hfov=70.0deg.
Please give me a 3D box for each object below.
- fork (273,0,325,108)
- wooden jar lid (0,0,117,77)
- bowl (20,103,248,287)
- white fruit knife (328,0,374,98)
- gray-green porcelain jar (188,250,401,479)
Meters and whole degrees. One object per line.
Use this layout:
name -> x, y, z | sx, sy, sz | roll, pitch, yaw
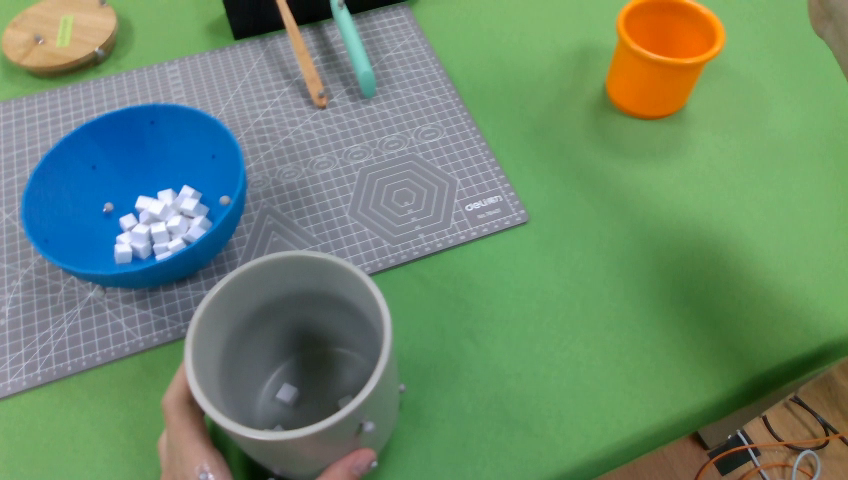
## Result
fork -> -0.135, -0.217, 0.575 | 0.028, 0.019, 0.206 | -20, 78, -18
wooden jar lid -> -0.360, -0.201, 0.602 | 0.108, 0.021, 0.107 | 1, 57, -2
bowl -> -0.200, -0.021, 0.452 | 0.151, 0.077, 0.150 | 0, 58, 0
white fruit knife -> -0.088, -0.230, 0.585 | 0.016, 0.027, 0.206 | -19, 73, -13
gray-green porcelain jar -> -0.067, 0.082, 0.362 | 0.106, 0.127, 0.105 | 0, 57, 0
